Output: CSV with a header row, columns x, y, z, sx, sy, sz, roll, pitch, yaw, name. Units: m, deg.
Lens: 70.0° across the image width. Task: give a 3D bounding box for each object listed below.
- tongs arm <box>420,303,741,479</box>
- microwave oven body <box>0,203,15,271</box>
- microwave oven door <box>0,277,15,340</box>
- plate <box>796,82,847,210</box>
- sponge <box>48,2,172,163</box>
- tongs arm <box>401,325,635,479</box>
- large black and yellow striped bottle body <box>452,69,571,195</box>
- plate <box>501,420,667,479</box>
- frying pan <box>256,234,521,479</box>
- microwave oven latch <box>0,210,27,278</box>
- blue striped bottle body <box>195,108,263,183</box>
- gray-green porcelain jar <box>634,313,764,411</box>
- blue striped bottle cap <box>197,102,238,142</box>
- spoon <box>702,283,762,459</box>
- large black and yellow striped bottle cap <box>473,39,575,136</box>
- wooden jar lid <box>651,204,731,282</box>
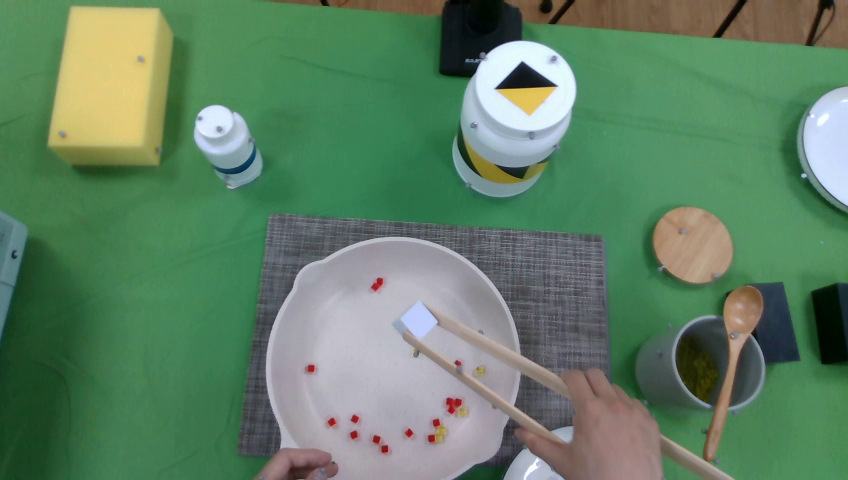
x,y,z,sx,sy,sz,roll,pitch,yaw,name
0.154,0.161,0.592,0.385,0.028,0.028,28,52,19,tongs arm
-0.660,0.134,0.584,0.326,0.261,0.439,4,74,-3,microwave oven body
-0.517,0.184,0.574,0.039,0.245,0.353,4,73,-2,microwave oven door
0.631,-0.127,0.867,0.209,0.038,0.208,1,73,-3,plate
-0.414,-0.210,0.809,0.118,0.061,0.205,-1,74,-5,sponge
0.141,0.176,0.580,0.382,0.027,0.050,32,57,22,tongs arm
0.108,-0.148,0.763,0.131,0.185,0.130,1,73,-3,large black and yellow striped bottle body
0.185,0.316,0.706,0.208,0.039,0.206,1,75,-4,plate
-0.104,0.206,0.683,0.305,0.103,0.487,44,67,10,frying pan
-0.507,0.004,0.733,0.030,0.029,0.078,7,74,-2,microwave oven latch
-0.246,-0.123,0.764,0.063,0.121,0.062,1,73,-3,blue striped bottle body
0.317,0.149,0.720,0.106,0.127,0.105,1,73,-3,gray-green porcelain jar
-0.244,-0.139,0.716,0.044,0.021,0.044,1,75,-4,blue striped bottle cap
0.326,0.139,0.650,0.041,0.022,0.193,20,77,-1,spoon
0.113,-0.174,0.683,0.115,0.019,0.114,1,75,-3,large black and yellow striped bottle cap
0.359,0.005,0.821,0.108,0.021,0.108,1,75,-3,wooden jar lid
